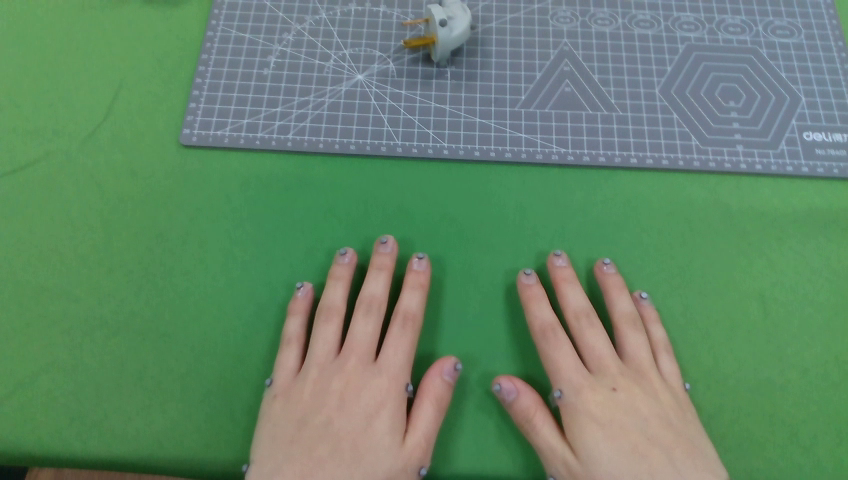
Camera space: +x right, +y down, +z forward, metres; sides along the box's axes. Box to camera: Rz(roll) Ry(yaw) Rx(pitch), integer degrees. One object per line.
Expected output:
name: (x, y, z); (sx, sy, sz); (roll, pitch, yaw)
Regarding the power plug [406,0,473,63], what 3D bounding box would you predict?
power plug: (0.011, -0.139, 0.380); (0.035, 0.072, 0.053); (-1, 99, 10)
